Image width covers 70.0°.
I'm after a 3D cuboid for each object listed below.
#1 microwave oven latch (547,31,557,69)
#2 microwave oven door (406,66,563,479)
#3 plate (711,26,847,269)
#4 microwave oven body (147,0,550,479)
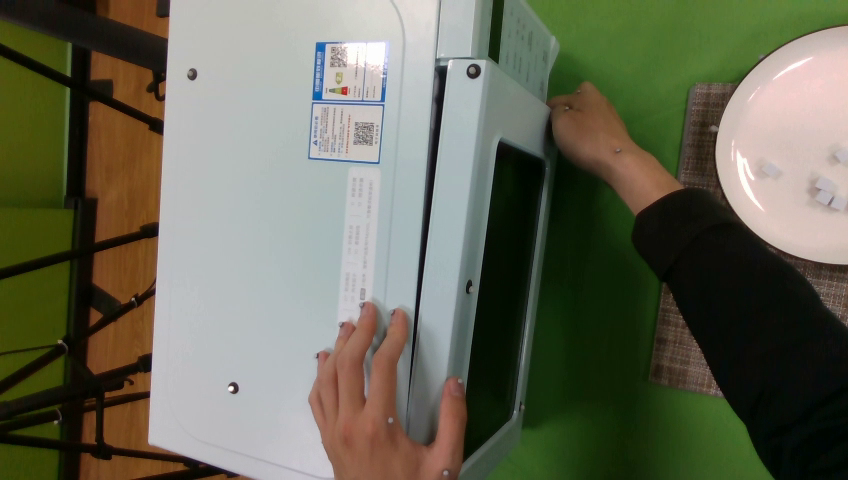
[{"bbox_3d":[0.113,-0.176,0.631,0.030,0.029,0.079,24,102,22],"label":"microwave oven latch"},{"bbox_3d":[0.061,0.048,0.550,0.039,0.245,0.356,9,95,25],"label":"microwave oven door"},{"bbox_3d":[0.366,-0.078,0.531,0.208,0.038,0.209,0,91,25],"label":"plate"},{"bbox_3d":[-0.071,-0.009,0.616,0.324,0.261,0.442,7,95,24],"label":"microwave oven body"}]
